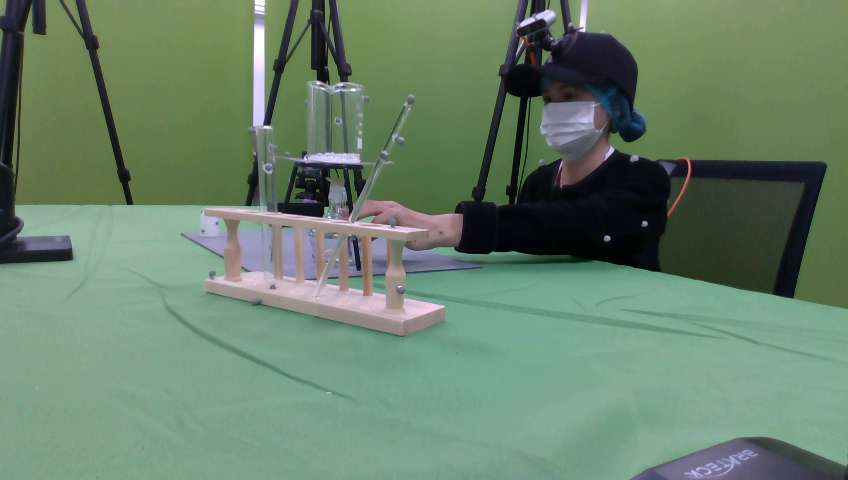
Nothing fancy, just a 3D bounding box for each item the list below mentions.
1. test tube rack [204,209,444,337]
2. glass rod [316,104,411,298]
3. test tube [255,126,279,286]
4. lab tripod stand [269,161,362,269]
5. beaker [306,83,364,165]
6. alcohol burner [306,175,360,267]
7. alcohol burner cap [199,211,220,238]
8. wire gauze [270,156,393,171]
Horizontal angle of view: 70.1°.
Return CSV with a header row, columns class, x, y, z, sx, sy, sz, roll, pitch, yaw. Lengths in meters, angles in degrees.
class,x,y,z,sx,sy,sz,roll,pitch,yaw
test tube rack,-0.100,0.021,0.565,0.241,0.085,0.067,7,9,32
glass rod,-0.055,-0.026,0.517,0.008,0.199,0.008,23,25,-11
test tube,-0.147,-0.031,0.566,0.017,0.150,0.017,-1,8,0
lab tripod stand,-0.125,-0.036,0.794,0.148,0.131,0.148,5,7,0
beaker,-0.116,-0.147,0.775,0.074,0.100,0.084,2,8,-2
alcohol burner,-0.115,-0.025,0.791,0.078,0.119,0.078,1,8,0
alcohol burner cap,-0.356,-0.027,1.002,0.034,0.048,0.034,3,7,0
wire gauze,-0.122,-0.100,0.786,0.122,0.011,0.124,-5,14,-38
